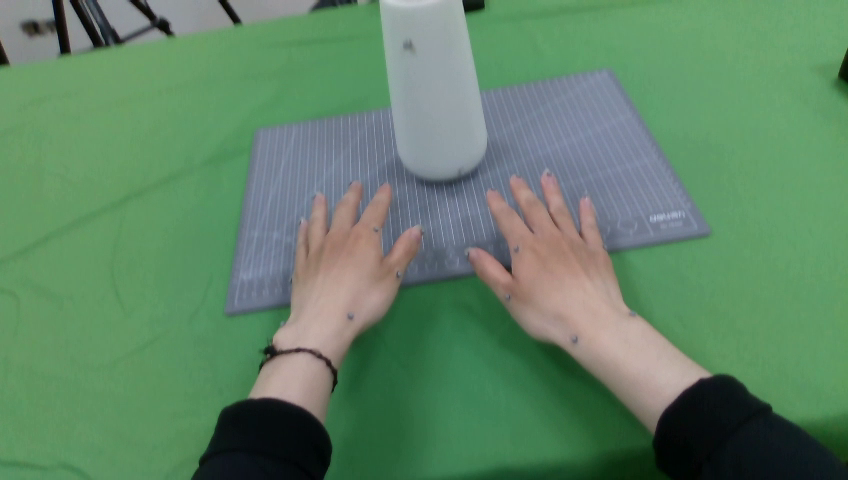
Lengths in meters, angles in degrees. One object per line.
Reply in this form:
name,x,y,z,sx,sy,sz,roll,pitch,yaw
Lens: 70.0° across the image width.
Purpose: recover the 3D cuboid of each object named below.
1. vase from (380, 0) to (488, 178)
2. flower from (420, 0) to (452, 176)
vase,0.009,-0.159,0.598,0.098,0.202,0.097,-6,45,6
flower,-0.001,-0.227,0.550,0.038,0.364,0.043,-25,30,-28
